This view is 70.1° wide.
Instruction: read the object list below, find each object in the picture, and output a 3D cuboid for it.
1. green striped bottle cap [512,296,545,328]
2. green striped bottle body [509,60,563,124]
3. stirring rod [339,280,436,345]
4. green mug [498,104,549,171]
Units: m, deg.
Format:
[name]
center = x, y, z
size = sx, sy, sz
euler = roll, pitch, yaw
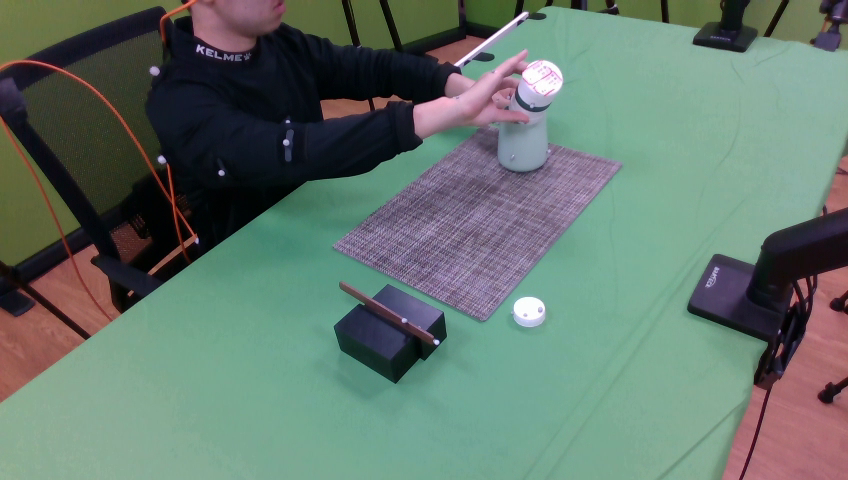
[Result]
[green striped bottle cap]
center = 0.144, 0.099, 0.837
size = 0.044, 0.020, 0.044
euler = -2, 44, 2
[green striped bottle body]
center = 0.178, -0.234, 0.988
size = 0.063, 0.119, 0.063
euler = 3, 72, -8
[stirring rod]
center = -0.052, 0.093, 0.795
size = 0.174, 0.014, 0.006
euler = 27, 47, 33
[green mug]
center = 0.182, -0.196, 1.101
size = 0.092, 0.105, 0.125
euler = 3, 42, 12
